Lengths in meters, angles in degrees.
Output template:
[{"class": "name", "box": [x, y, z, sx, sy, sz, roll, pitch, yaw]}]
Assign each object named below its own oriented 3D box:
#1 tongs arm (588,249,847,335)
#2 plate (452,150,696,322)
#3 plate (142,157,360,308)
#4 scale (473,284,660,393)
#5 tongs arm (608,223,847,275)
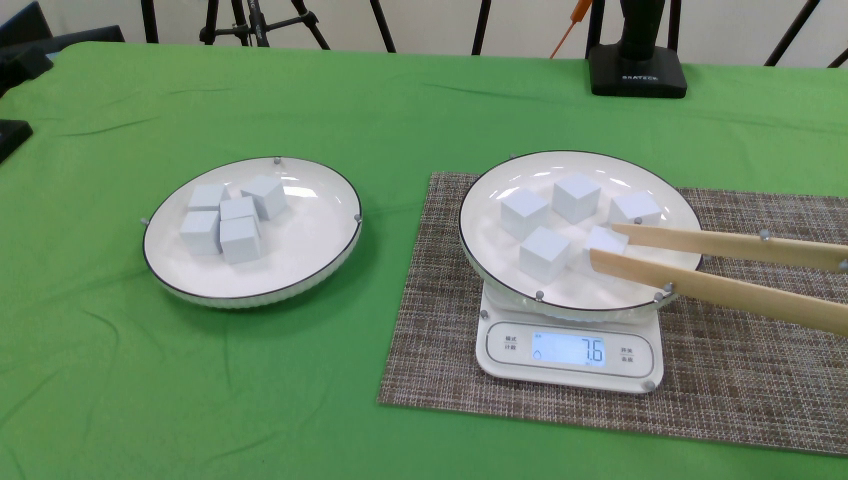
[{"class": "tongs arm", "box": [0.275, 0.045, 0.366, 0.384, 0.028, 0.028, 12, 43, 43]}, {"class": "plate", "box": [0.129, -0.004, 0.538, 0.208, 0.039, 0.205, 0, 44, 1]}, {"class": "plate", "box": [-0.166, -0.008, 0.602, 0.209, 0.038, 0.207, -1, 43, 1]}, {"class": "scale", "box": [0.126, 0.039, 0.540, 0.148, 0.032, 0.199, 5, 45, 8]}, {"class": "tongs arm", "box": [0.291, 0.029, 0.378, 0.382, 0.027, 0.050, 8, 44, 40]}]
